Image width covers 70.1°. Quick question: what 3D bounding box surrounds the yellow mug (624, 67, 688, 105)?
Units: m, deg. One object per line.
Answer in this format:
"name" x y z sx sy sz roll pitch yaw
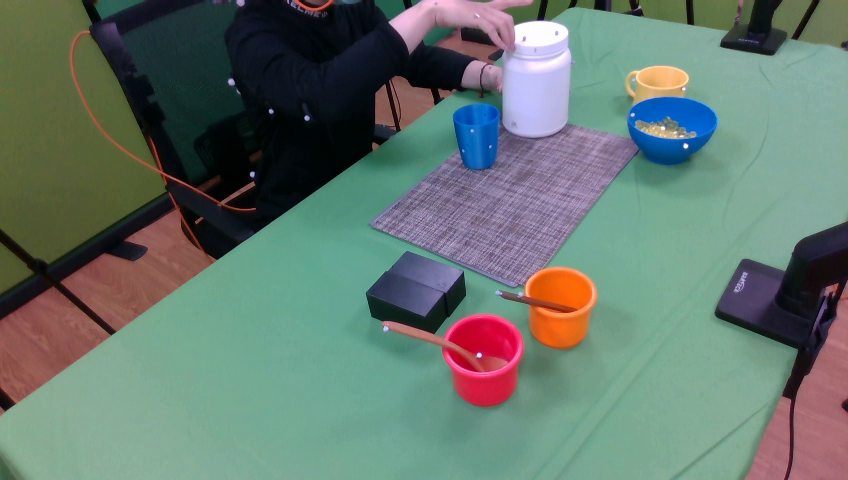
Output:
"yellow mug" 0.464 -0.305 1.230 0.100 0.064 0.129 -34 46 -27

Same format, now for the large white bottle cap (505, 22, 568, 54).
"large white bottle cap" 0.207 -0.373 1.117 0.115 0.018 0.114 -4 40 4

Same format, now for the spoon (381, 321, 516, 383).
"spoon" 0.033 0.131 0.725 0.195 0.021 0.041 29 29 -26

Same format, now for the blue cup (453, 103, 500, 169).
"blue cup" 0.099 -0.188 1.114 0.092 0.100 0.092 -4 39 4

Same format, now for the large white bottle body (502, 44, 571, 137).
"large white bottle body" 0.217 -0.309 1.172 0.130 0.185 0.130 -4 41 4

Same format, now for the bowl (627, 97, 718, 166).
"bowl" 0.439 -0.187 1.087 0.151 0.077 0.150 -4 41 4

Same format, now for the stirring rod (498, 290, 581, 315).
"stirring rod" 0.152 0.081 0.771 0.178 0.006 0.014 16 20 -44
